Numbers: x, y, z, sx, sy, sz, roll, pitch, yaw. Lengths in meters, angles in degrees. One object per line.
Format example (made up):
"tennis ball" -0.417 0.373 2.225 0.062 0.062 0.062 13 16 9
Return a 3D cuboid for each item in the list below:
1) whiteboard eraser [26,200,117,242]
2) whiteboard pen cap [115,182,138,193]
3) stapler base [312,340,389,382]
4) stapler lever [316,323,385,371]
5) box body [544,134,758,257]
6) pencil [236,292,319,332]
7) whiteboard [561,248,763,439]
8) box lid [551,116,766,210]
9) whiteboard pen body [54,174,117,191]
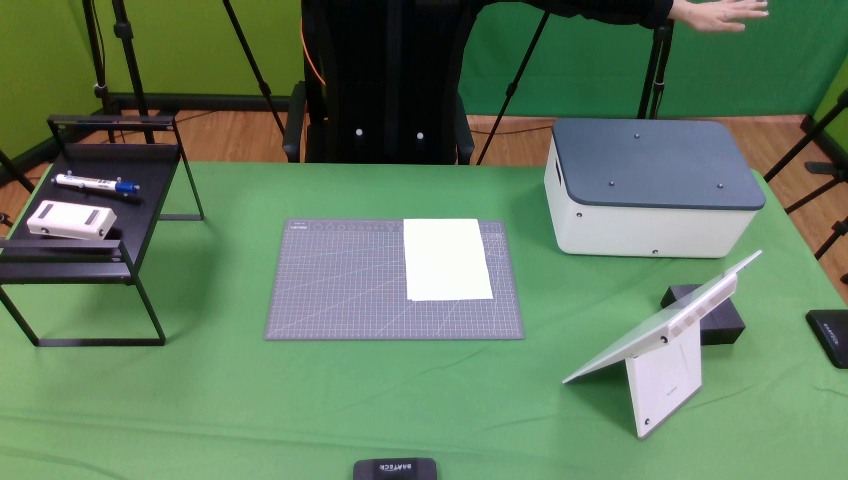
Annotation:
"whiteboard eraser" -0.532 -0.026 0.919 0.113 0.042 0.055 7 45 3
"whiteboard pen cap" -0.483 -0.086 0.984 0.033 0.018 0.018 7 46 10
"stapler base" -0.123 0.189 0.997 0.130 0.024 0.041 20 49 16
"stapler lever" -0.120 0.171 0.979 0.118 0.040 0.027 21 49 15
"box body" 0.442 -0.103 1.233 0.364 0.161 0.252 1 46 -3
"pencil" -0.244 0.131 1.055 0.193 0.012 0.012 22 49 12
"whiteboard" 0.386 0.176 0.905 0.217 0.306 0.143 -26 72 -27
"box lid" 0.446 -0.154 1.179 0.372 0.015 0.261 1 47 -2
"whiteboard pen body" -0.541 -0.093 0.993 0.140 0.017 0.017 7 46 9
